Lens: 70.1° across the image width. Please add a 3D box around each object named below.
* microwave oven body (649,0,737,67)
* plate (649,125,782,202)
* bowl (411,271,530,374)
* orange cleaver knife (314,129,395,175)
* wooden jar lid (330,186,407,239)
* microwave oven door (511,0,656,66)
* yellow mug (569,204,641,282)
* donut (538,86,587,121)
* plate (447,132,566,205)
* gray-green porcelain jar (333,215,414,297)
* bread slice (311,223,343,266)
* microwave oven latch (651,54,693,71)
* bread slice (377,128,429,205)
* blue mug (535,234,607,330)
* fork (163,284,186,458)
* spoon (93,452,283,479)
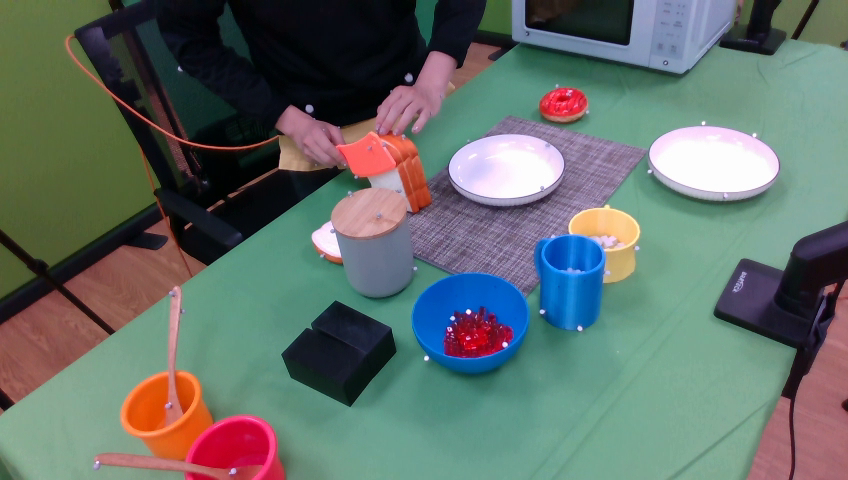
[{"bbox_3d":[0.475,-0.602,1.411,0.438,0.261,0.327,23,50,32],"label":"microwave oven body"},{"bbox_3d":[0.493,-0.127,1.036,0.207,0.039,0.206,-4,41,4],"label":"plate"},{"bbox_3d":[0.062,0.120,0.780,0.151,0.077,0.150,-4,40,4],"label":"bowl"},{"bbox_3d":[-0.122,-0.145,1.034,0.012,0.077,0.209,-40,26,-31],"label":"orange cleaver knife"},{"bbox_3d":[-0.077,-0.035,0.846,0.108,0.021,0.108,-5,42,5],"label":"wooden jar lid"},{"bbox_3d":[0.351,-0.539,1.349,0.353,0.245,0.039,24,50,31],"label":"microwave oven door"},{"bbox_3d":[0.268,-0.005,0.904,0.099,0.064,0.130,7,41,15],"label":"yellow mug"},{"bbox_3d":[0.283,-0.280,1.239,0.099,0.048,0.098,-5,42,5],"label":"donut"},{"bbox_3d":[0.146,-0.124,1.076,0.209,0.038,0.208,-3,41,3],"label":"plate"},{"bbox_3d":[-0.071,0.012,0.887,0.106,0.127,0.105,-4,41,4],"label":"gray-green porcelain jar"},{"bbox_3d":[-0.123,0.000,1.007,0.104,0.019,0.132,35,39,29],"label":"bread slice"},{"bbox_3d":[0.531,-0.386,1.301,0.078,0.029,0.030,26,51,33],"label":"microwave oven latch"},{"bbox_3d":[-0.040,-0.128,1.040,0.106,0.135,0.018,29,54,33],"label":"bread slice"},{"bbox_3d":[0.191,0.048,0.824,0.082,0.106,0.115,-26,44,-20],"label":"blue mug"},{"bbox_3d":[-0.302,0.157,0.733,0.028,0.019,0.207,-3,84,15],"label":"fork"},{"bbox_3d":[-0.240,0.239,0.632,0.195,0.021,0.041,26,33,-32],"label":"spoon"}]
